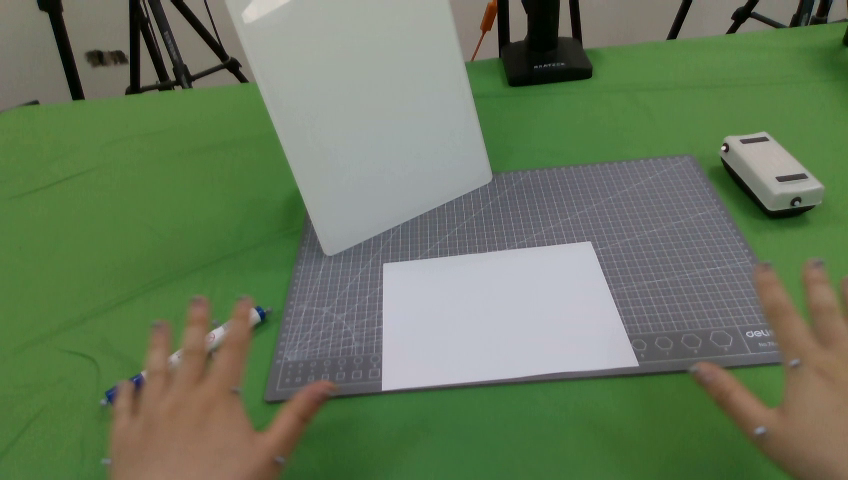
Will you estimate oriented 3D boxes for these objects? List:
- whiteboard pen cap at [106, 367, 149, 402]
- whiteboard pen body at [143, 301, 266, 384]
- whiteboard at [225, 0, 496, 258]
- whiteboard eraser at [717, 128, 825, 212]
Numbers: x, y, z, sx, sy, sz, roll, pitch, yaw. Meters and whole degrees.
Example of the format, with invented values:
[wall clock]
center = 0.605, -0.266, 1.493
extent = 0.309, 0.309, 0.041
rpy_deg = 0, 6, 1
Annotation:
[whiteboard pen cap]
center = -0.250, 0.121, 0.514
extent = 0.033, 0.018, 0.018
rpy_deg = -31, 46, -27
[whiteboard pen body]
center = -0.205, 0.095, 0.541
extent = 0.141, 0.017, 0.017
rpy_deg = -32, 47, -27
[whiteboard]
center = -0.080, -0.175, 0.661
extent = 0.217, 0.307, 0.142
rpy_deg = -26, 24, -19
[whiteboard eraser]
center = 0.360, -0.074, 0.636
extent = 0.055, 0.042, 0.111
rpy_deg = -10, 41, -1
